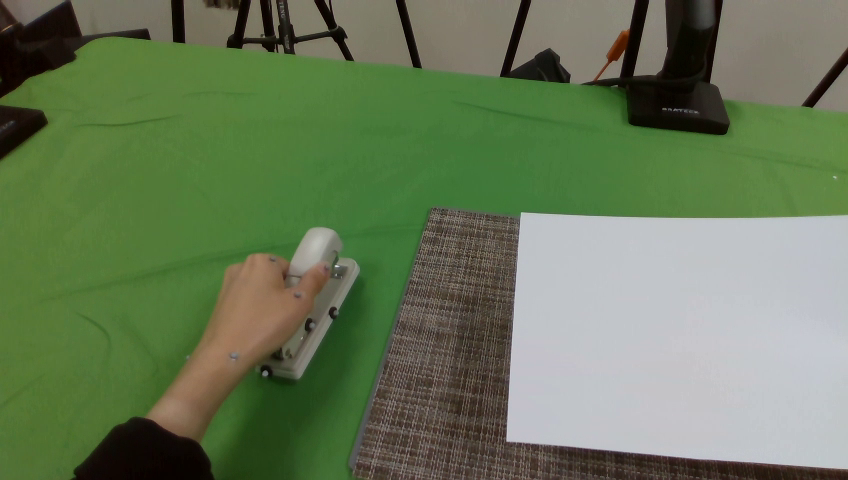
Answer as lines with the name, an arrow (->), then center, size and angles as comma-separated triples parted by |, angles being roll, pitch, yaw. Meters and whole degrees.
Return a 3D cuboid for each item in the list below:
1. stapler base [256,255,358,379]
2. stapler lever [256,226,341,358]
stapler base -> -0.097, 0.054, 0.508 | 0.041, 0.025, 0.129 | 6, 47, 19
stapler lever -> -0.100, 0.037, 0.489 | 0.026, 0.040, 0.117 | 6, 47, 19
